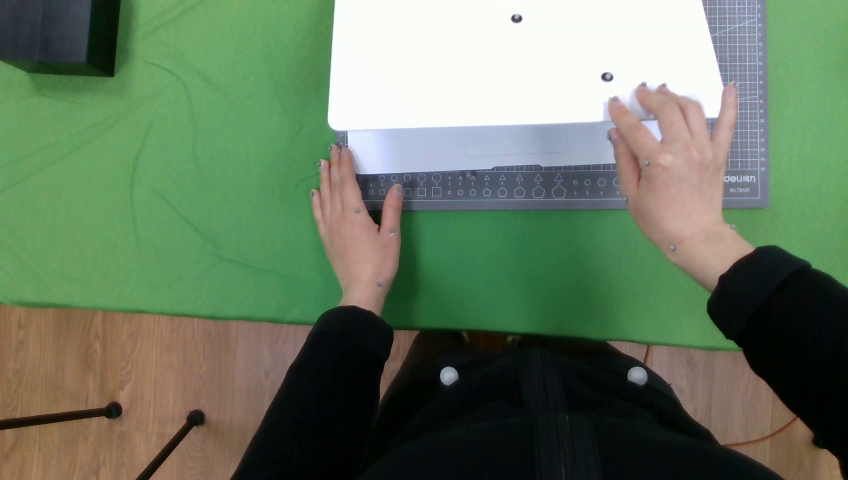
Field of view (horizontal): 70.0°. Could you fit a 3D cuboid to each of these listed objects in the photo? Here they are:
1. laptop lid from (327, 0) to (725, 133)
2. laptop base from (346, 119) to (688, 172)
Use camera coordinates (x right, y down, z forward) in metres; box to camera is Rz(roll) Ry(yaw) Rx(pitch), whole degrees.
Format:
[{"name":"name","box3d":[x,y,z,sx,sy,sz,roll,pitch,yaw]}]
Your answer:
[{"name":"laptop lid","box3d":[0.086,-0.207,0.574,0.357,0.013,0.240,-1,67,2]},{"name":"laptop base","box3d":[0.090,-0.195,0.632,0.354,0.023,0.235,-3,92,2]}]
